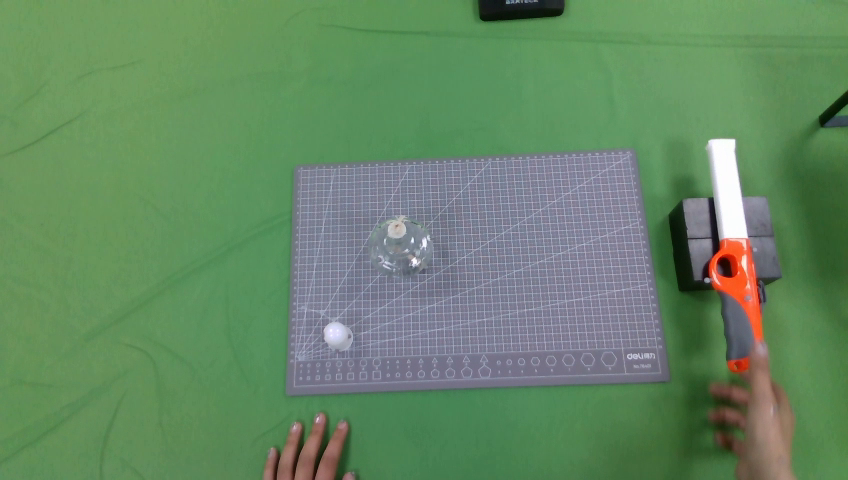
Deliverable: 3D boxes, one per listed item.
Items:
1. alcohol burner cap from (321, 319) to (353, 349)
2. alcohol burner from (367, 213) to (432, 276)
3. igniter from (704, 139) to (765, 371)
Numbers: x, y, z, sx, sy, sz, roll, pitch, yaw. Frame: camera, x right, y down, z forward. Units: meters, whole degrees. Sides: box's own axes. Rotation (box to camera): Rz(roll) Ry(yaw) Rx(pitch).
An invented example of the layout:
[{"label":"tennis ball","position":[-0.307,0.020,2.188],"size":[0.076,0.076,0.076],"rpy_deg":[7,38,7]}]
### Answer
[{"label":"alcohol burner cap","position":[-0.104,0.109,0.714],"size":[0.034,0.048,0.033],"rpy_deg":[-1,72,4]},{"label":"alcohol burner","position":[-0.030,0.000,0.708],"size":[0.078,0.120,0.077],"rpy_deg":[0,72,1]},{"label":"igniter","position":[0.350,0.010,0.690],"size":[0.057,0.025,0.274],"rpy_deg":[1,71,6]}]
